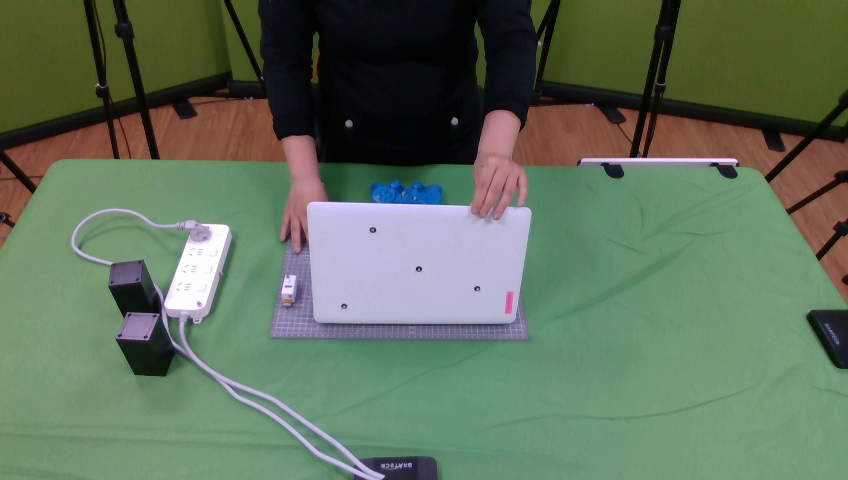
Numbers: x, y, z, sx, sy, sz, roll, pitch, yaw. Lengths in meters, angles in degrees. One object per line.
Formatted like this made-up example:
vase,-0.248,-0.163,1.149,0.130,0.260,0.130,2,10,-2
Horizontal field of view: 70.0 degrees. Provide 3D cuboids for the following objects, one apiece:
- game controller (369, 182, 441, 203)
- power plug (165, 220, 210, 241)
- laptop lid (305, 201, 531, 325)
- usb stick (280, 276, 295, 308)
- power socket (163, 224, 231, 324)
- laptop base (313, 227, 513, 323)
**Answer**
game controller,-0.039,-0.091,1.268,0.155,0.052,0.096,2,49,-2
power plug,-0.440,-0.015,1.143,0.072,0.053,0.035,7,46,9
laptop lid,-0.011,0.044,0.989,0.357,0.242,0.013,2,30,-4
usb stick,-0.244,0.093,1.080,0.021,0.027,0.059,4,47,-7
power socket,-0.411,0.052,1.107,0.072,0.033,0.225,3,46,-3
laptop base,-0.021,0.063,1.136,0.354,0.023,0.234,1,42,-3
